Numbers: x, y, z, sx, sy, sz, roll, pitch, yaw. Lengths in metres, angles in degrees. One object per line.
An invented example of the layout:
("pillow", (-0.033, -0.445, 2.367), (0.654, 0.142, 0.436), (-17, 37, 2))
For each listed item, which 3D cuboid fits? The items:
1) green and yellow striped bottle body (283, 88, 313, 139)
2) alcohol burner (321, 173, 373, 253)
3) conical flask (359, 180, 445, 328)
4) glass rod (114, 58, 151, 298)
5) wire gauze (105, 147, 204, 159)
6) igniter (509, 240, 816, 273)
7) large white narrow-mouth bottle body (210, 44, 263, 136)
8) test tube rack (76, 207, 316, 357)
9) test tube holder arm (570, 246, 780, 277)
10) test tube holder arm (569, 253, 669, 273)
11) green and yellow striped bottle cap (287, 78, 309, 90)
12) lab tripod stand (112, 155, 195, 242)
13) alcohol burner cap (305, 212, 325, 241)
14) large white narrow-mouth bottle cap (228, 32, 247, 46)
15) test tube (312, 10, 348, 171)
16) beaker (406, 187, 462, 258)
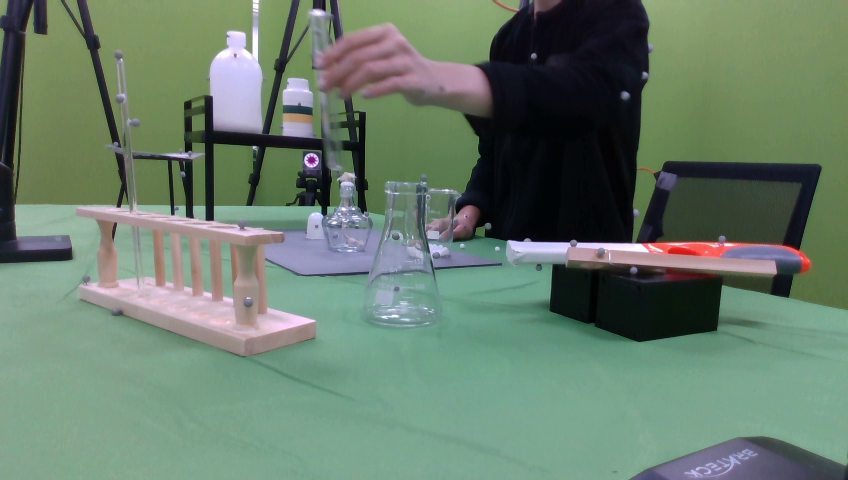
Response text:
("green and yellow striped bottle body", (-0.266, -0.275, 1.275), (0.063, 0.119, 0.063), (2, 7, 0))
("alcohol burner", (-0.115, -0.041, 0.905), (0.078, 0.119, 0.078), (1, 6, 0))
("conical flask", (-0.017, 0.010, 0.522), (0.075, 0.122, 0.075), (2, 7, 0))
("glass rod", (-0.236, -0.044, 0.492), (0.008, 0.199, 0.008), (0, 15, 0))
("wire gauze", (-0.408, -0.131, 0.928), (0.125, 0.011, 0.121), (2, 6, -11))
("igniter", (0.220, 0.015, 0.565), (0.277, 0.025, 0.057), (2, 17, 0))
("large white narrow-mouth bottle body", (-0.369, -0.305, 1.194), (0.102, 0.194, 0.102), (3, 8, 0))
("test tube rack", (-0.196, 0.023, 0.499), (0.241, 0.085, 0.067), (8, 9, 36))
("test tube holder arm", (0.217, 0.019, 0.525), (0.178, 0.015, 0.013), (3, -23, 3))
("test tube holder arm", (0.172, 0.019, 0.532), (0.088, 0.015, 0.010), (3, -23, 3))
("green and yellow striped bottle cap", (-0.265, -0.326, 1.268), (0.045, 0.020, 0.045), (4, 6, 0))
("lab tripod stand", (-0.405, -0.064, 0.931), (0.148, 0.131, 0.148), (1, 6, 0))
("alcohol burner cap", (-0.185, -0.023, 1.027), (0.034, 0.048, 0.034), (2, 7, 0))
("large white narrow-mouth bottle cap", (-0.364, -0.390, 1.180), (0.038, 0.024, 0.037), (3, 8, 0))
("test tube", (-0.090, -0.141, 0.582), (0.017, 0.150, 0.017), (-6, 13, 2))
("beaker", (0.013, -0.026, 0.893), (0.084, 0.100, 0.074), (2, 8, -2))
